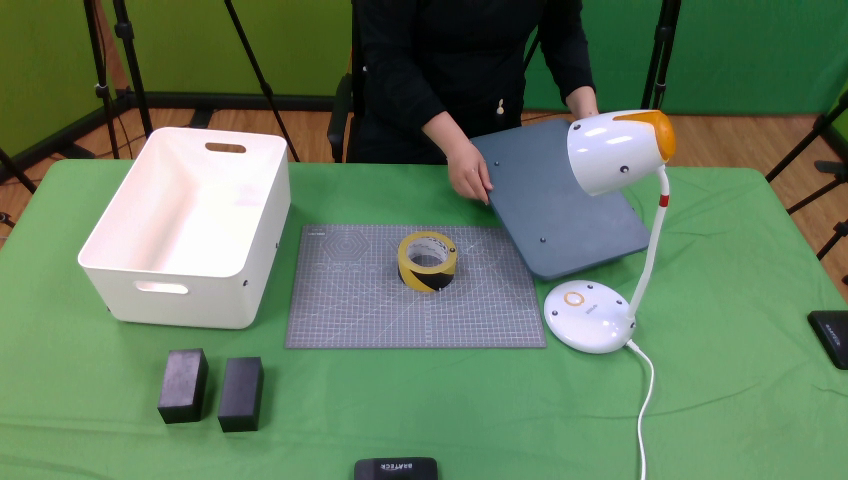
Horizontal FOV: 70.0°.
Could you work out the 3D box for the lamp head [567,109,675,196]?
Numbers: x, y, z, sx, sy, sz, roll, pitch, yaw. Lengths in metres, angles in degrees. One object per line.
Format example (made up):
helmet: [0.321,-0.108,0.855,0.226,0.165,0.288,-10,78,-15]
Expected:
lamp head: [0.272,-0.123,0.818,0.122,0.113,0.112,-9,35,37]

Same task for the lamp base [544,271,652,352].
lamp base: [0.309,0.086,1.029,0.178,0.181,0.160,32,52,21]

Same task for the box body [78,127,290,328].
box body: [-0.400,-0.026,1.095,0.254,0.161,0.362,4,46,0]

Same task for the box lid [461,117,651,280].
box lid: [0.256,-0.096,1.211,0.263,0.015,0.369,-16,57,-15]

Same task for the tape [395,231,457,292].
tape: [0.005,0.039,1.136,0.117,0.053,0.116,2,46,-2]
